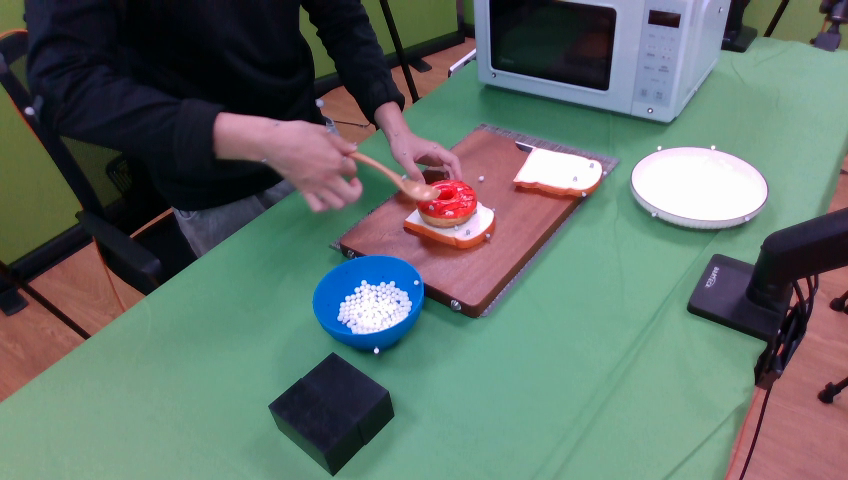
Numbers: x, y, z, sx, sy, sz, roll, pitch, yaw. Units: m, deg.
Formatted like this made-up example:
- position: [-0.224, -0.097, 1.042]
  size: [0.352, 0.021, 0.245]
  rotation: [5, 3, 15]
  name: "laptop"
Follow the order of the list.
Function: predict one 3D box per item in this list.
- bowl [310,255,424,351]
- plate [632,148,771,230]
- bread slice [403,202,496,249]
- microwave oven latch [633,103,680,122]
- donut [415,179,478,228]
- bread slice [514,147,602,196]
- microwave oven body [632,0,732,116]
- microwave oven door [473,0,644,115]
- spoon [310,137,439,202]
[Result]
- position: [-0.071, 0.097, 0.821]
  size: [0.151, 0.077, 0.150]
  rotation: [-4, 40, 4]
  name: "bowl"
- position: [0.447, -0.081, 0.988]
  size: [0.207, 0.039, 0.206]
  rotation: [-4, 40, 4]
  name: "plate"
- position: [0.048, -0.034, 0.961]
  size: [0.130, 0.019, 0.105]
  rotation: [22, 49, 32]
  name: "bread slice"
- position: [0.444, -0.249, 1.157]
  size: [0.078, 0.029, 0.030]
  rotation: [21, 49, 30]
  name: "microwave oven latch"
- position: [0.036, -0.058, 0.944]
  size: [0.099, 0.048, 0.098]
  rotation: [-5, 40, 5]
  name: "donut"
- position: [0.233, -0.115, 1.027]
  size: [0.133, 0.018, 0.107]
  rotation: [13, 45, 20]
  name: "bread slice"
- position: [0.377, -0.462, 1.267]
  size: [0.438, 0.261, 0.327]
  rotation: [21, 48, 30]
  name: "microwave oven body"
- position: [0.257, -0.396, 1.199]
  size: [0.353, 0.245, 0.039]
  rotation: [21, 48, 29]
  name: "microwave oven door"
- position: [-0.068, -0.101, 0.845]
  size: [0.194, 0.021, 0.041]
  rotation: [28, 37, -7]
  name: "spoon"
